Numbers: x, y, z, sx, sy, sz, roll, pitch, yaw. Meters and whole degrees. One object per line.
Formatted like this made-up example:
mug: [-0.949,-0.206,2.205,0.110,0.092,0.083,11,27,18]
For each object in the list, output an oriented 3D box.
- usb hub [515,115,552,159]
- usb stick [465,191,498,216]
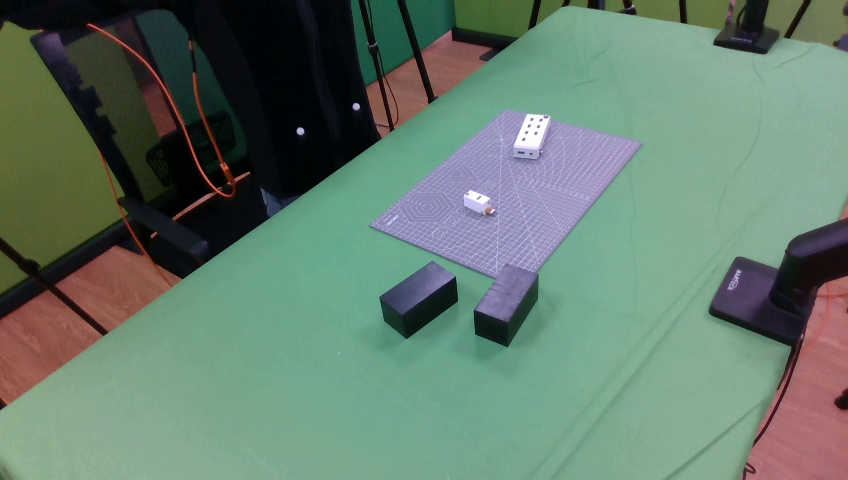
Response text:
usb hub: [0.213,-0.201,1.173,0.049,0.025,0.125,9,43,18]
usb stick: [0.099,-0.061,1.026,0.058,0.027,0.021,30,51,33]
